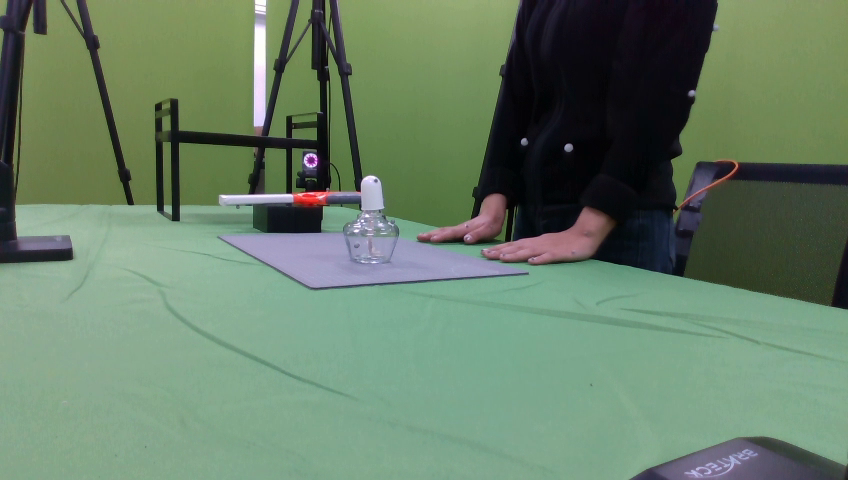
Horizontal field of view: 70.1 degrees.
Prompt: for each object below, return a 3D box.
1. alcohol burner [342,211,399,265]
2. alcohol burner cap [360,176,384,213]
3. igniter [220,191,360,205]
[{"bbox_3d":[-0.073,-0.027,0.818,0.078,0.119,0.078,1,6,0],"label":"alcohol burner"},{"bbox_3d":[-0.071,-0.062,0.814,0.034,0.048,0.034,-2,12,1],"label":"alcohol burner cap"},{"bbox_3d":[-0.243,-0.079,1.152,0.278,0.025,0.057,-3,12,-27],"label":"igniter"}]
